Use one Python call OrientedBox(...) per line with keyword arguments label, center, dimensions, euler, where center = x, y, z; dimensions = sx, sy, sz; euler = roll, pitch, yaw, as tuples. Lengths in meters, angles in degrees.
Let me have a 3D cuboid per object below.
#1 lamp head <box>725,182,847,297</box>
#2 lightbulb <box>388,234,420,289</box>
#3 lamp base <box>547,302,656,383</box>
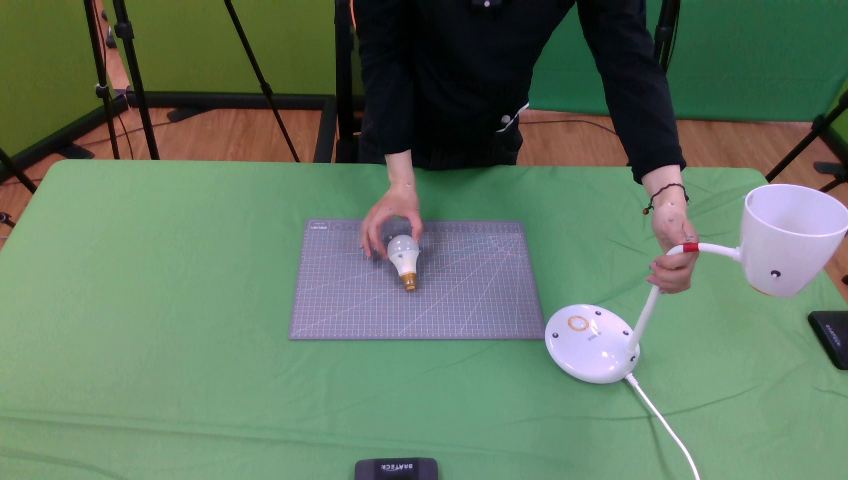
OrientedBox(label="lamp head", center=(0.428, 0.006, 0.725), dimensions=(0.112, 0.123, 0.111), euler=(0, 39, 0))
OrientedBox(label="lightbulb", center=(-0.033, 0.040, 1.121), dimensions=(0.059, 0.060, 0.107), euler=(-8, 71, -11))
OrientedBox(label="lamp base", center=(0.304, 0.127, 0.982), dimensions=(0.160, 0.181, 0.178), euler=(-33, 59, -29))
